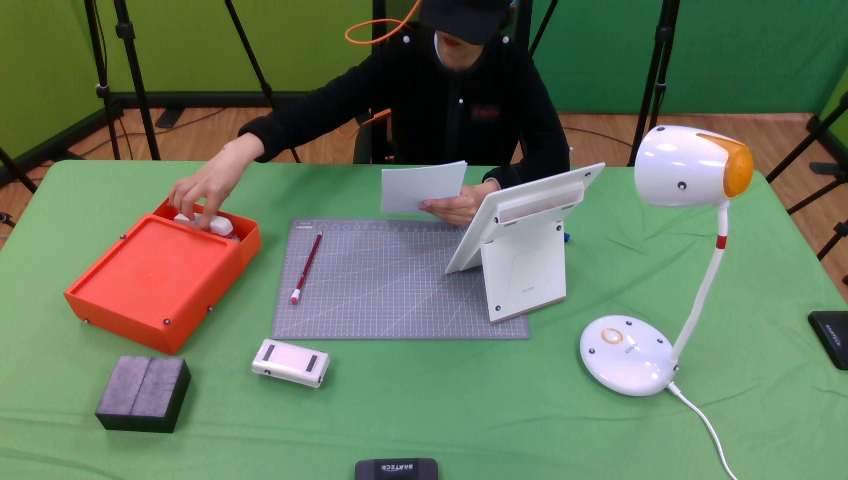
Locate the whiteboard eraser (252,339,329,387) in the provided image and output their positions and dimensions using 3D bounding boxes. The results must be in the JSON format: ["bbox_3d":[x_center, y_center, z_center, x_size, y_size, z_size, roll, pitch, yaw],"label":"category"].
[{"bbox_3d":[-0.215,0.199,0.976,0.112,0.042,0.055,12,45,7],"label":"whiteboard eraser"}]

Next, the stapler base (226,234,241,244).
[{"bbox_3d":[-0.409,-0.015,1.139,0.130,0.024,0.041,18,42,14],"label":"stapler base"}]

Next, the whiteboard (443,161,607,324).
[{"bbox_3d":[0.185,0.026,1.028,0.217,0.306,0.143,-15,68,-18],"label":"whiteboard"}]

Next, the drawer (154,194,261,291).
[{"bbox_3d":[-0.437,0.027,1.099,0.194,0.073,0.211,18,48,11],"label":"drawer"}]

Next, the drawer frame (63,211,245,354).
[{"bbox_3d":[-0.459,0.067,1.055,0.201,0.083,0.212,17,48,11],"label":"drawer frame"}]

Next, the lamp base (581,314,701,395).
[{"bbox_3d":[0.361,0.144,0.973,0.178,0.181,0.160,34,53,23],"label":"lamp base"}]

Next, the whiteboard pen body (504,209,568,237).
[{"bbox_3d":[0.230,-0.034,1.248,0.140,0.017,0.017,23,49,16],"label":"whiteboard pen body"}]

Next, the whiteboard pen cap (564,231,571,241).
[{"bbox_3d":[0.281,-0.011,1.230,0.033,0.018,0.018,25,50,16],"label":"whiteboard pen cap"}]

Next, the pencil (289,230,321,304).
[{"bbox_3d":[-0.221,0.046,1.141,0.012,0.012,0.193,8,44,4],"label":"pencil"}]

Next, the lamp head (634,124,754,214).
[{"bbox_3d":[0.351,-0.089,0.776,0.112,0.113,0.122,-30,30,-28],"label":"lamp head"}]

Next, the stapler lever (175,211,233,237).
[{"bbox_3d":[-0.409,-0.033,1.121,0.118,0.040,0.027,18,42,14],"label":"stapler lever"}]
